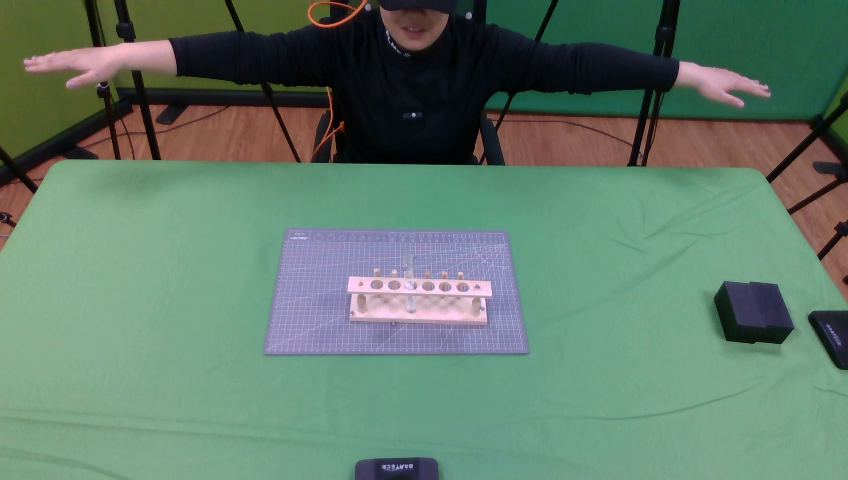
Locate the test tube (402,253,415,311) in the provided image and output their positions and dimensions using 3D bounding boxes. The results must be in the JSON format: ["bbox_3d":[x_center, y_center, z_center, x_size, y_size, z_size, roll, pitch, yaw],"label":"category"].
[{"bbox_3d":[-0.025,0.073,1.010,0.017,0.151,0.017,-1,49,1],"label":"test tube"}]

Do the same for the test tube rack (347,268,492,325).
[{"bbox_3d":[-0.009,0.095,1.059,0.242,0.085,0.066,2,46,-2],"label":"test tube rack"}]
